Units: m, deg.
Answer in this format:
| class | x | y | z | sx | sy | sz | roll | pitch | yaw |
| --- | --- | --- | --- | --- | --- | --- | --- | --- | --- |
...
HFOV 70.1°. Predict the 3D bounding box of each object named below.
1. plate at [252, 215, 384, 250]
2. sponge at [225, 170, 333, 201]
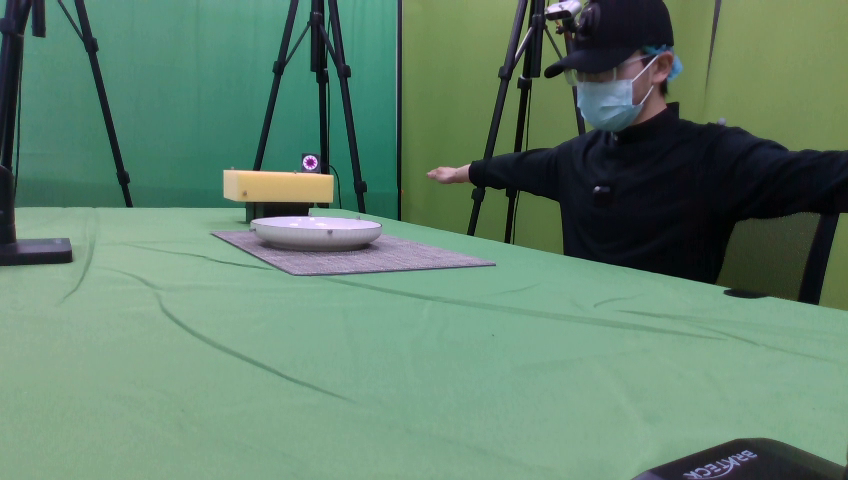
| class | x | y | z | sx | sy | sz | roll | pitch | yaw |
| --- | --- | --- | --- | --- | --- | --- | --- | --- | --- |
| plate | -0.169 | -0.012 | 0.976 | 0.208 | 0.039 | 0.207 | 2 | 7 | 0 |
| sponge | -0.314 | -0.117 | 1.306 | 0.208 | 0.061 | 0.117 | -3 | 9 | -31 |
